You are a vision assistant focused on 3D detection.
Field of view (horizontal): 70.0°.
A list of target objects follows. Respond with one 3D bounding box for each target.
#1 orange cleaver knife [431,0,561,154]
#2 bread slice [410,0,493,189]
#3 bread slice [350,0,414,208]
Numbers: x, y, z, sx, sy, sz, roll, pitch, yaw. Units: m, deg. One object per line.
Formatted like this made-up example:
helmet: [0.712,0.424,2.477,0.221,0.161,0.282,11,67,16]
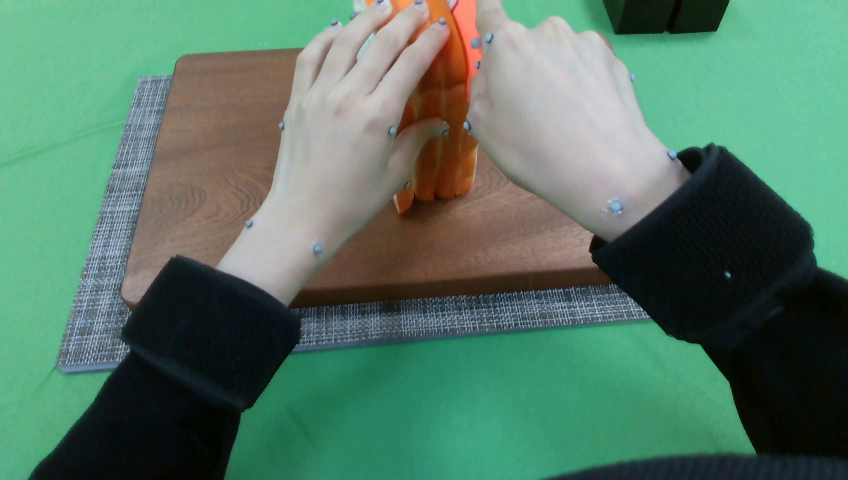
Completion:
orange cleaver knife: [0.030,-0.124,0.361,0.012,0.077,0.209,-8,62,-18]
bread slice: [0.019,-0.117,0.433,0.019,0.132,0.104,-9,55,-19]
bread slice: [-0.031,-0.107,0.425,0.018,0.135,0.106,-14,50,-14]
